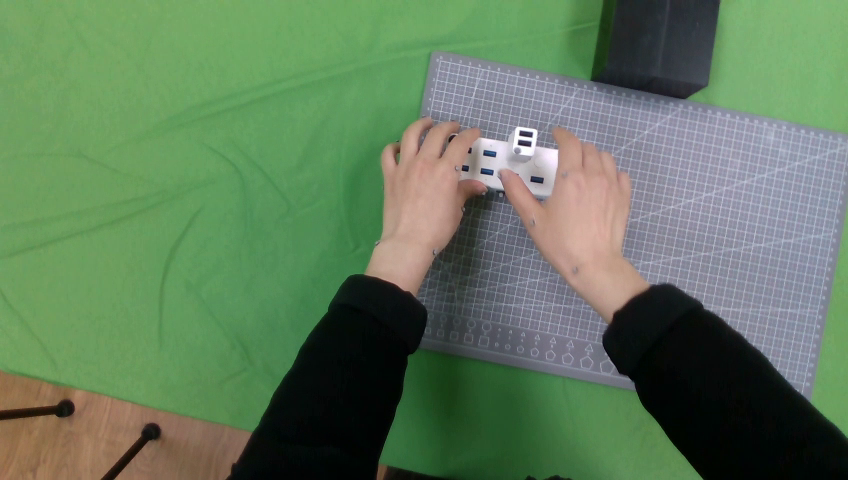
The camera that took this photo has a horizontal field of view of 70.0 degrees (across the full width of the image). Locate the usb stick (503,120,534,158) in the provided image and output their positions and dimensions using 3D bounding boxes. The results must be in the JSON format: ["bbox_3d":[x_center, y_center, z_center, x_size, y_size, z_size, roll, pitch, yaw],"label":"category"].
[{"bbox_3d":[0.088,-0.094,0.573,0.021,0.059,0.027,7,86,0],"label":"usb stick"}]

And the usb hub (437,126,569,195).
[{"bbox_3d":[0.078,-0.079,0.605,0.125,0.025,0.049,9,89,-1],"label":"usb hub"}]
